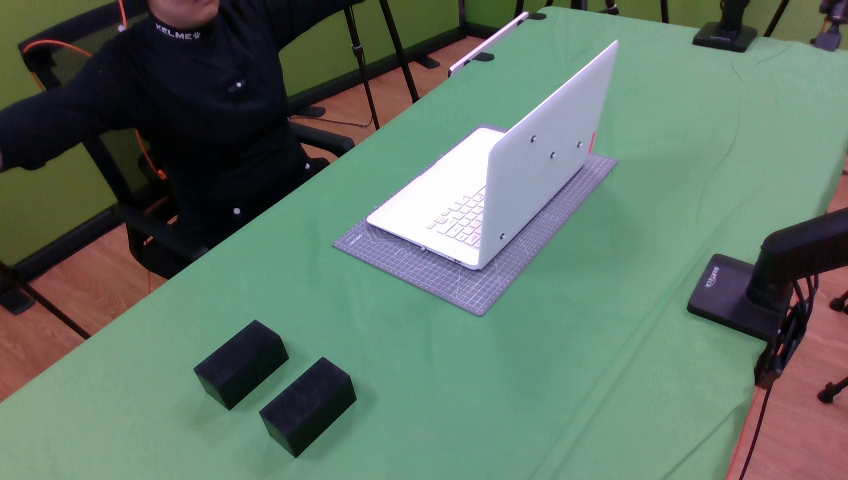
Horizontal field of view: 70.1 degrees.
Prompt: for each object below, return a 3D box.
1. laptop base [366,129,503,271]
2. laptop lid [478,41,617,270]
[{"bbox_3d":[0.098,-0.086,1.059,0.233,0.023,0.355,21,48,34],"label":"laptop base"},{"bbox_3d":[0.190,-0.130,0.913,0.013,0.242,0.358,29,50,26],"label":"laptop lid"}]
